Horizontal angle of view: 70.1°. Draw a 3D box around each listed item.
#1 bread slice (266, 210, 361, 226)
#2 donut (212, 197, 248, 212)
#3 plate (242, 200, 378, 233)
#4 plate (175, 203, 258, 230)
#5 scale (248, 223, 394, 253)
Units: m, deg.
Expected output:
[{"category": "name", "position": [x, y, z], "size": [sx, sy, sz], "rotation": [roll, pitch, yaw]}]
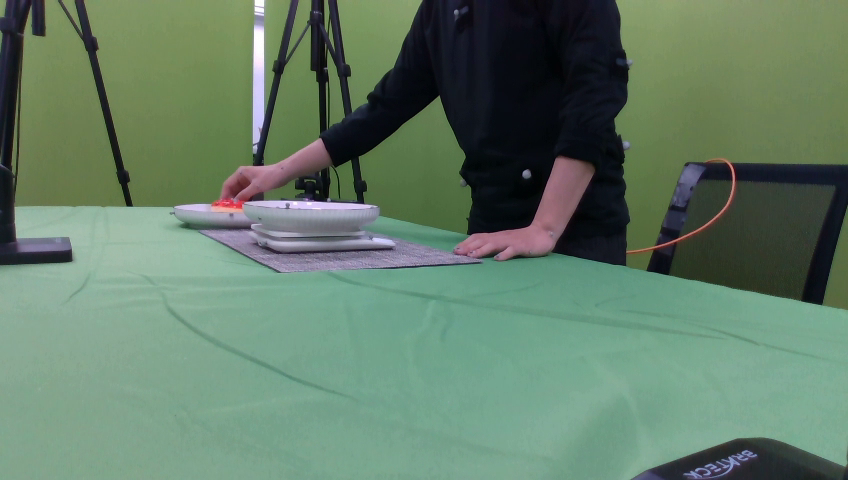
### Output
[{"category": "bread slice", "position": [-0.174, -0.035, 0.934], "size": [0.132, 0.019, 0.104], "rotation": [-1, 6, -28]}, {"category": "donut", "position": [-0.376, -0.061, 1.220], "size": [0.099, 0.048, 0.099], "rotation": [5, 4, 0]}, {"category": "plate", "position": [-0.176, -0.038, 0.939], "size": [0.209, 0.038, 0.209], "rotation": [3, 7, 0]}, {"category": "plate", "position": [-0.380, -0.047, 1.199], "size": [0.208, 0.039, 0.207], "rotation": [2, 7, 0]}, {"category": "scale", "position": [-0.162, -0.006, 0.954], "size": [0.202, 0.031, 0.148], "rotation": [-2, 8, -32]}]
